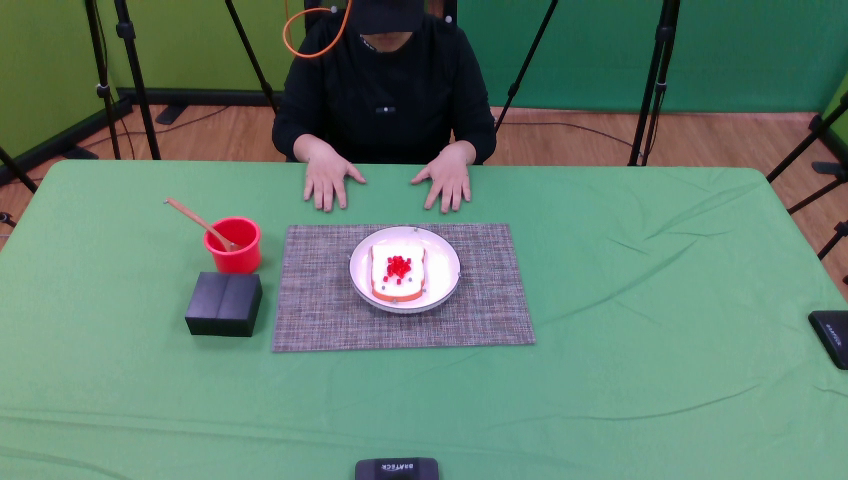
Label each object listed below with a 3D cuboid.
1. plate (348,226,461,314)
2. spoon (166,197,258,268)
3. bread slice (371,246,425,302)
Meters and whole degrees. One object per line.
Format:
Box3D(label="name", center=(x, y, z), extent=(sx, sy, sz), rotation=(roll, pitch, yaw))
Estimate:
Box3D(label="plate", center=(-0.035, 0.058, 1.124), extent=(0.209, 0.038, 0.208), rotation=(2, 46, -2))
Box3D(label="spoon", center=(-0.383, -0.014, 1.100), extent=(0.194, 0.021, 0.041), rotation=(45, 46, -22))
Box3D(label="bread slice", center=(-0.048, 0.060, 1.123), extent=(0.105, 0.019, 0.130), rotation=(0, 45, -3))
